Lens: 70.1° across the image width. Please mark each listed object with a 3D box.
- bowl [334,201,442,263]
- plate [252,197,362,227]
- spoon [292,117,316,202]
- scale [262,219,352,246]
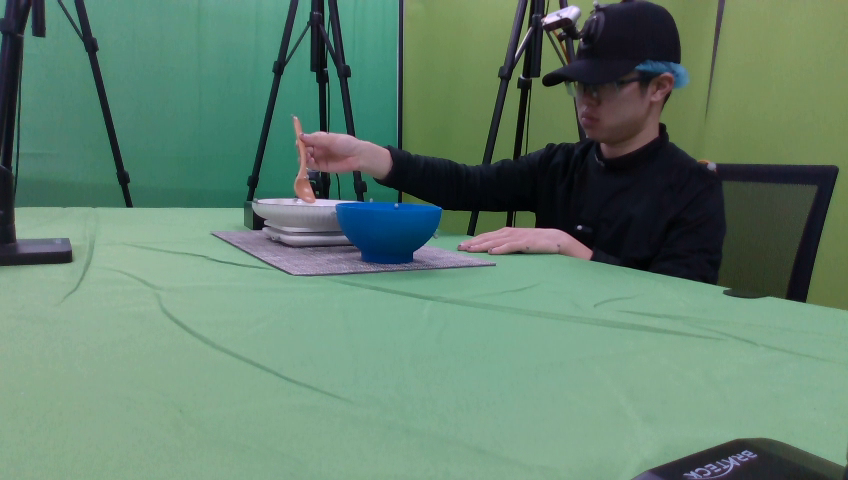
[{"bbox_3d":[-0.051,-0.012,0.849,0.151,0.077,0.151,2,7,0],"label":"bowl"},{"bbox_3d":[-0.178,-0.047,1.012,0.209,0.038,0.209,2,6,0],"label":"plate"},{"bbox_3d":[-0.214,-0.144,1.062,0.021,0.193,0.042,-31,-35,32],"label":"spoon"},{"bbox_3d":[-0.160,-0.015,1.027,0.202,0.031,0.148,-2,8,-32],"label":"scale"}]
